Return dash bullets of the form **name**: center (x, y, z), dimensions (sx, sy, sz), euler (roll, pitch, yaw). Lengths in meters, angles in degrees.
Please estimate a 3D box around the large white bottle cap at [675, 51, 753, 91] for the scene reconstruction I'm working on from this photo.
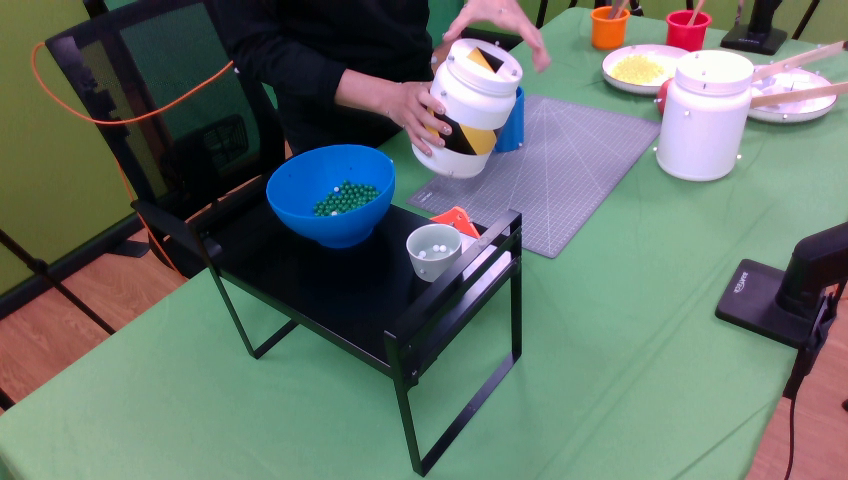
- **large white bottle cap**: center (0.463, -0.271, 0.967), dimensions (0.115, 0.018, 0.114), euler (-4, 40, 4)

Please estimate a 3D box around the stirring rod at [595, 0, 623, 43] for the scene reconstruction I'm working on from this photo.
- **stirring rod**: center (0.460, -0.556, 1.459), dimensions (0.014, 0.006, 0.176), euler (30, 93, 23)

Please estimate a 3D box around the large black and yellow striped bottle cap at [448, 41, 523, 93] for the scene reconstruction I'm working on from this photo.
- **large black and yellow striped bottle cap**: center (0.093, -0.261, 0.907), dimensions (0.115, 0.019, 0.114), euler (12, 43, -11)

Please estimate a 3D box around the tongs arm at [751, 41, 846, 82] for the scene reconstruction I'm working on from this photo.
- **tongs arm**: center (0.708, -0.331, 1.194), dimensions (0.386, 0.026, 0.050), euler (-19, 45, -16)

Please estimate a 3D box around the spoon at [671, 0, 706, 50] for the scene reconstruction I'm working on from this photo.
- **spoon**: center (0.629, -0.520, 1.394), dimensions (0.041, 0.022, 0.193), euler (30, 96, 34)

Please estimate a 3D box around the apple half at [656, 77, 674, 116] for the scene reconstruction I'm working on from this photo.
- **apple half**: center (0.488, -0.281, 1.192), dimensions (0.053, 0.075, 0.081), euler (24, 54, 37)

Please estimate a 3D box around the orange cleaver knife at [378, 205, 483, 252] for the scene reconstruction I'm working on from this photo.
- **orange cleaver knife**: center (0.005, -0.010, 0.944), dimensions (0.210, 0.077, 0.012), euler (-4, 23, 47)

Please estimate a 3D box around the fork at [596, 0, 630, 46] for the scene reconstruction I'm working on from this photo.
- **fork**: center (0.481, -0.556, 1.452), dimensions (0.028, 0.019, 0.207), euler (40, 103, 40)

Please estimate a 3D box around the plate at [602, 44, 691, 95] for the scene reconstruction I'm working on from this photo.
- **plate**: center (0.495, -0.367, 1.317), dimensions (0.209, 0.038, 0.208), euler (-4, 40, 4)

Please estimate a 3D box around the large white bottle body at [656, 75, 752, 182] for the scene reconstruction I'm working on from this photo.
- **large white bottle body**: center (0.472, -0.207, 1.022), dimensions (0.130, 0.185, 0.130), euler (-4, 41, 4)

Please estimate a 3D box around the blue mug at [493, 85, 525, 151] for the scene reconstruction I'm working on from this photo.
- **blue mug**: center (0.138, -0.240, 1.169), dimensions (0.116, 0.106, 0.082), euler (10, 44, 21)

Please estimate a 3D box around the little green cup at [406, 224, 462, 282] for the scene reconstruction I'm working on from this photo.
- **little green cup**: center (0.012, 0.015, 0.668), dimensions (0.061, 0.039, 0.061), euler (-4, 40, 4)

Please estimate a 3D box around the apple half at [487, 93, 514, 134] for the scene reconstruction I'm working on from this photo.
- **apple half**: center (0.142, -0.238, 1.158), dimensions (0.033, 0.081, 0.080), euler (-12, 40, -16)

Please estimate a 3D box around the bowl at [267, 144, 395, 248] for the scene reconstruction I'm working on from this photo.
- **bowl**: center (-0.104, -0.043, 0.726), dimensions (0.151, 0.077, 0.150), euler (-4, 40, 4)

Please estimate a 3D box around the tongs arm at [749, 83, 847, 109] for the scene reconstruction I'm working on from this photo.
- **tongs arm**: center (0.734, -0.280, 1.133), dimensions (0.388, 0.028, 0.028), euler (-9, 47, -5)

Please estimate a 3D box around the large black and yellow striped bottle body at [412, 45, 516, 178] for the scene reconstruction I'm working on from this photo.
- **large black and yellow striped bottle body**: center (0.067, -0.206, 0.964), dimensions (0.131, 0.184, 0.130), euler (13, 43, -12)

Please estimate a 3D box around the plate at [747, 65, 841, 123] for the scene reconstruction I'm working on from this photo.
- **plate**: center (0.694, -0.283, 1.189), dimensions (0.207, 0.039, 0.206), euler (-4, 40, 4)
